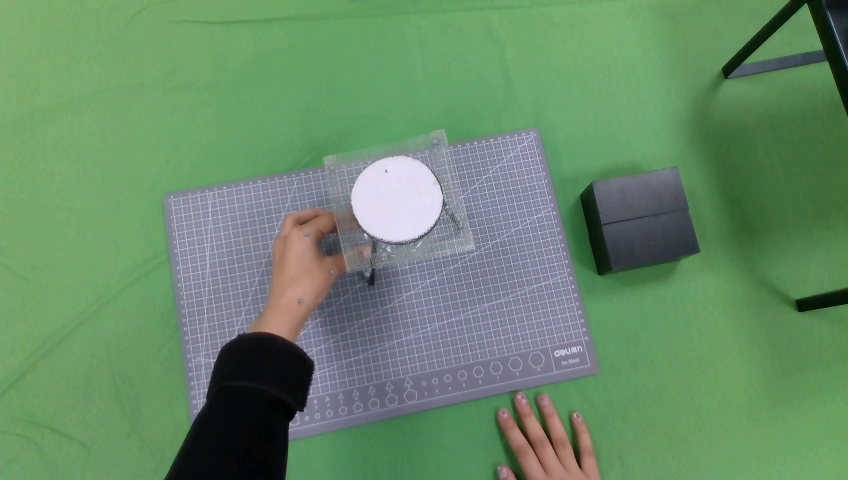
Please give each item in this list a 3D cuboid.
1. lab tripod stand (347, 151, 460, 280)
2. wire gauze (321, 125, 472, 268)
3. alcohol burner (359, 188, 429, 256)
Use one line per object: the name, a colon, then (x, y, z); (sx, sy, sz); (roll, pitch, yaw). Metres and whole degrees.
lab tripod stand: (-0.033, -0.033, 0.640); (0.148, 0.132, 0.147); (0, 79, 0)
wire gauze: (-0.027, -0.042, 0.573); (0.125, 0.011, 0.121); (-12, 79, -4)
alcohol burner: (-0.032, -0.023, 0.648); (0.078, 0.119, 0.077); (0, 80, 0)
